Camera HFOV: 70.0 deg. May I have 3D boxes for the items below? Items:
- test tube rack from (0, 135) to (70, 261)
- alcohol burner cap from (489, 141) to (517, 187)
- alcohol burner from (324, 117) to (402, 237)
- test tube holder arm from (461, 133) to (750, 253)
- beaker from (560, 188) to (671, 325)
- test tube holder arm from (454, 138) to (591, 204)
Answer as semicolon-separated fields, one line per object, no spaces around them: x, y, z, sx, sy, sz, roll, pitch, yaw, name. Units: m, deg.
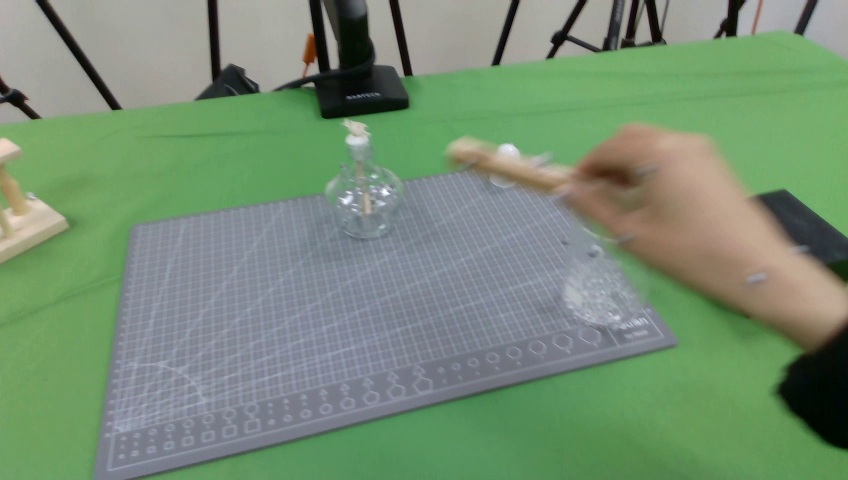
-0.467;0.001;0.543;0.066;0.086;0.242;26;47;28;test tube rack
0.089;-0.087;0.669;0.034;0.048;0.033;0;40;1;alcohol burner cap
-0.061;-0.063;0.588;0.078;0.120;0.077;-2;39;2;alcohol burner
0.103;-0.031;0.366;0.177;0.015;0.013;21;46;15;test tube holder arm
0.152;0.015;0.504;0.074;0.101;0.083;-33;49;-31;beaker
0.060;-0.043;0.374;0.087;0.015;0.010;21;46;15;test tube holder arm
